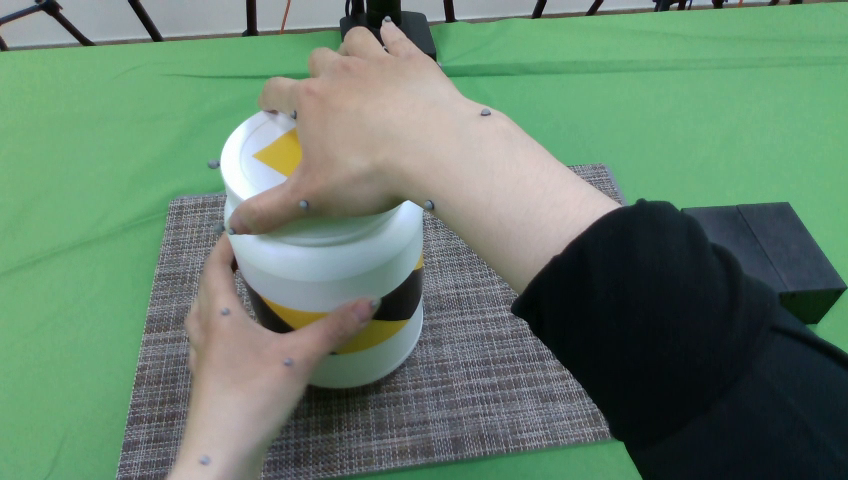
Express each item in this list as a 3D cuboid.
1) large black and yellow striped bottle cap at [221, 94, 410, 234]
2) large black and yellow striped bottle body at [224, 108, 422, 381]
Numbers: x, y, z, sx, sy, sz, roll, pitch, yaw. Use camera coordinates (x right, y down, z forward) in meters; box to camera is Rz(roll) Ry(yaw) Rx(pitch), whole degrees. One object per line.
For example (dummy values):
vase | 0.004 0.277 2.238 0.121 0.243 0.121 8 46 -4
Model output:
large black and yellow striped bottle cap | -0.066 -0.051 0.375 0.115 0.019 0.114 0 48 0
large black and yellow striped bottle body | -0.067 0.004 0.439 0.131 0.185 0.129 0 48 0
